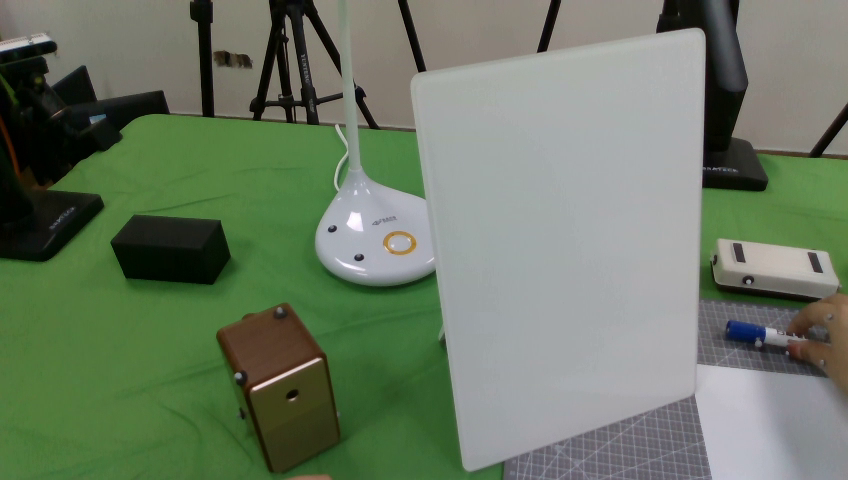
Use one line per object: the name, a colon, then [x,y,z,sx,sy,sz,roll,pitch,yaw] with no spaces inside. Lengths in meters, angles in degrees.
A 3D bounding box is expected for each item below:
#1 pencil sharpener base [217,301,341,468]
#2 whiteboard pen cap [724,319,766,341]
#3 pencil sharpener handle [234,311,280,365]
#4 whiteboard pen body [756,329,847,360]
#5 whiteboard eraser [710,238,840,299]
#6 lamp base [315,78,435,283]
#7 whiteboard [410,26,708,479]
pencil sharpener base: [-0.113,0.113,0.478,0.061,0.108,0.076,-23,43,-24]
whiteboard pen cap: [0.300,0.085,0.566,0.033,0.018,0.018,12,40,13]
pencil sharpener handle: [-0.139,0.077,0.505,0.036,0.068,0.030,-29,45,-18]
whiteboard pen body: [0.357,0.097,0.553,0.140,0.017,0.017,9,39,12]
whiteboard eraser: [0.357,0.031,0.623,0.112,0.042,0.055,7,37,11]
lamp base: [-0.054,-0.072,0.654,0.161,0.182,0.177,-26,42,-28]
whiteboard: [0.095,-0.001,0.503,0.218,0.307,0.142,-13,20,-13]
